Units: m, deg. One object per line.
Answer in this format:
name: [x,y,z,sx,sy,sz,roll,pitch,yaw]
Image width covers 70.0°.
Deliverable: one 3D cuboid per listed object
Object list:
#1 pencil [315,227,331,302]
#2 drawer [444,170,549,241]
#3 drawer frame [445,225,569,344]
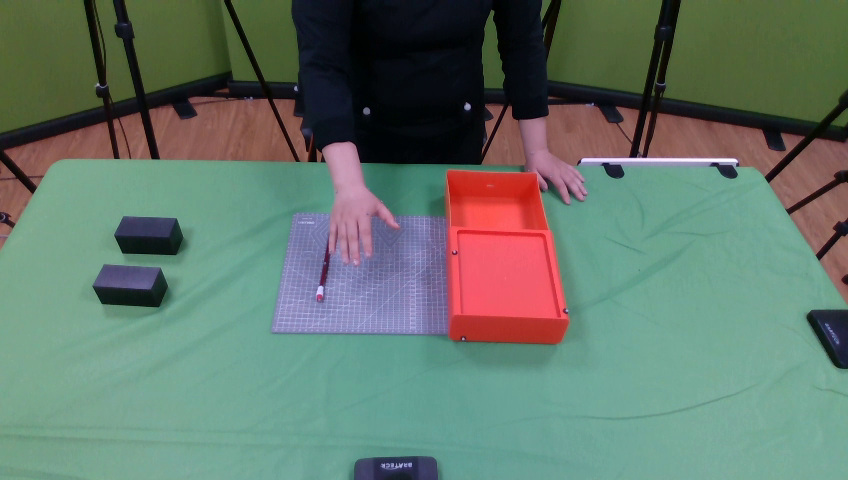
pencil: [-0.189,0.040,1.148,0.012,0.012,0.193,3,45,-1]
drawer: [0.140,-0.049,1.217,0.194,0.073,0.210,2,43,-3]
drawer frame: [0.141,0.076,1.089,0.202,0.083,0.212,2,47,-3]
